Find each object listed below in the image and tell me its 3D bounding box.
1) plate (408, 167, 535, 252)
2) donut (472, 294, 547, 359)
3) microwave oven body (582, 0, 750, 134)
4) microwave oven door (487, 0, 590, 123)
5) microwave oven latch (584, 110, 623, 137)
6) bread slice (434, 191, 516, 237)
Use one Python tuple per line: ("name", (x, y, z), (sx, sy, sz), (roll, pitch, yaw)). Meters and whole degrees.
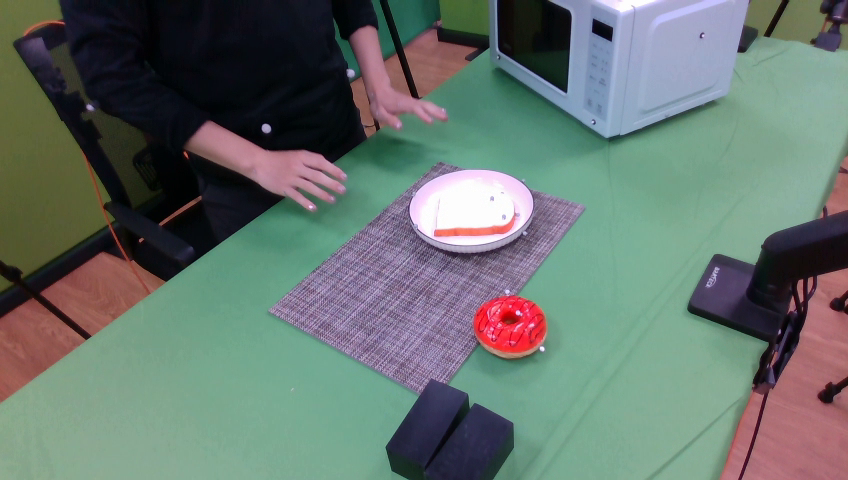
("plate", (0.078, -0.047, 0.996), (0.207, 0.039, 0.206), (-4, 41, 4))
("donut", (0.114, 0.114, 0.803), (0.099, 0.048, 0.098), (0, 40, 1))
("microwave oven body", (0.382, -0.444, 1.246), (0.327, 0.261, 0.437), (-22, 42, -16))
("microwave oven door", (0.232, -0.420, 1.231), (0.039, 0.245, 0.352), (-22, 43, -16))
("microwave oven latch", (0.337, -0.222, 1.142), (0.030, 0.029, 0.078), (-21, 42, -14))
("bread slice", (0.086, -0.046, 0.996), (0.131, 0.019, 0.104), (-1, 42, 7))
